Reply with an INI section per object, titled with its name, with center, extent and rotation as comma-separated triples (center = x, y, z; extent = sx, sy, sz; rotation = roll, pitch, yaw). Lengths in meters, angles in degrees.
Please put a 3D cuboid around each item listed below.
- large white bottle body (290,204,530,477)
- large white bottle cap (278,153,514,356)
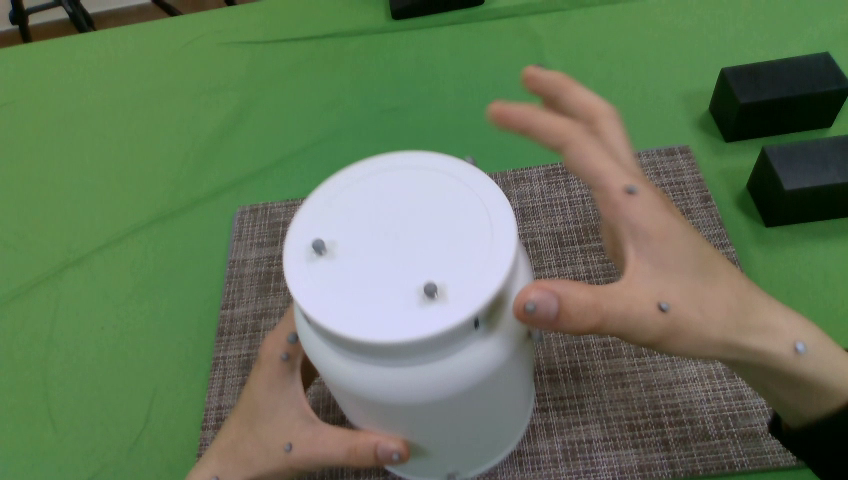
[large white bottle body]
center = -0.002, 0.052, 0.363
extent = 0.130, 0.186, 0.129
rotation = -4, 53, 6
[large white bottle cap]
center = -0.014, 0.002, 0.296
extent = 0.115, 0.018, 0.113
rotation = -4, 52, 6
